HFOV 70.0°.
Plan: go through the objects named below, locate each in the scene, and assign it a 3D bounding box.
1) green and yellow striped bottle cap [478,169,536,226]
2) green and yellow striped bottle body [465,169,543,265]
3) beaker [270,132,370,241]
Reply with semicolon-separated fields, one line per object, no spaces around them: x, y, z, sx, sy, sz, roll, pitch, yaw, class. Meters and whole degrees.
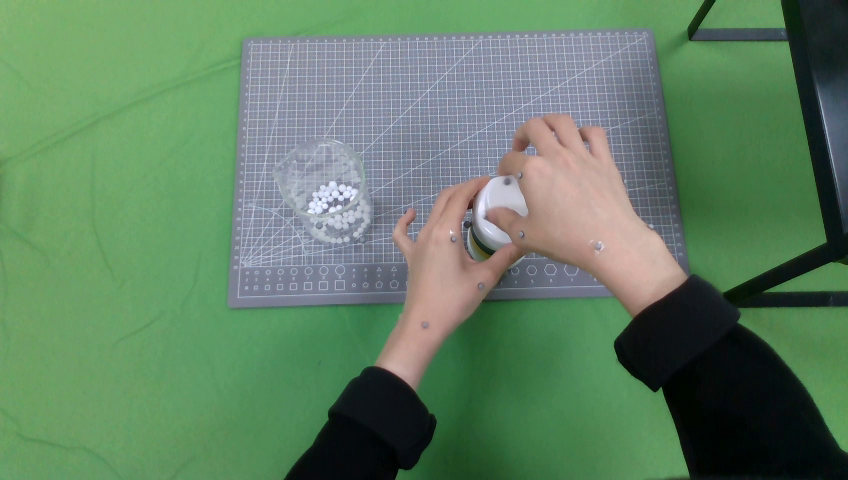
0.068;-0.035;0.496;0.045;0.020;0.045;2;71;-6;green and yellow striped bottle cap
0.071;-0.022;0.547;0.063;0.120;0.063;0;74;1;green and yellow striped bottle body
-0.091;-0.045;0.563;0.084;0.101;0.073;9;74;3;beaker
